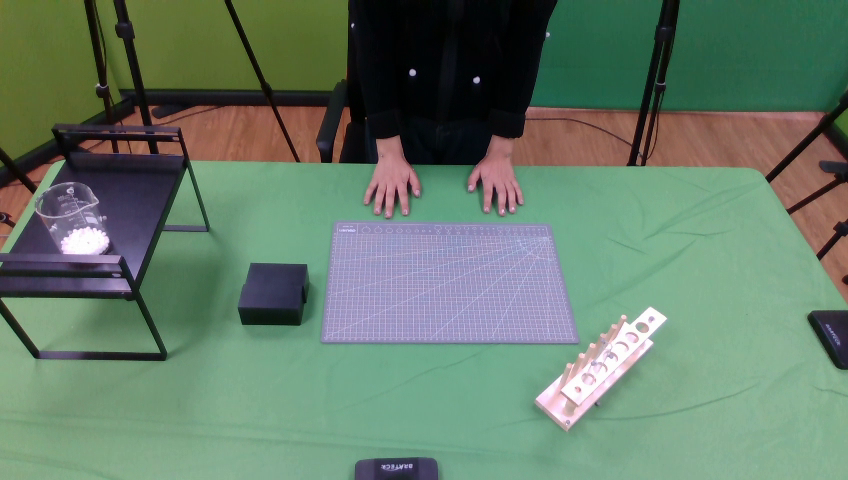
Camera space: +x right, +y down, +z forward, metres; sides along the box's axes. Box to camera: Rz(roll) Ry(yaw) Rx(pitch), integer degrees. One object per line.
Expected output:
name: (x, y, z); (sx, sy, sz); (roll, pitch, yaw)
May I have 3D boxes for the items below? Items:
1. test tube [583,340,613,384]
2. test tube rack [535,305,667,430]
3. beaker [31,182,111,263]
test tube: (0.252, 0.200, 0.907); (0.017, 0.151, 0.017); (5, 44, -4)
test tube rack: (0.290, 0.193, 0.984); (0.242, 0.085, 0.066); (-32, 56, -30)
beaker: (-0.502, -0.022, 0.877); (0.084, 0.101, 0.073); (-2, 47, -7)
